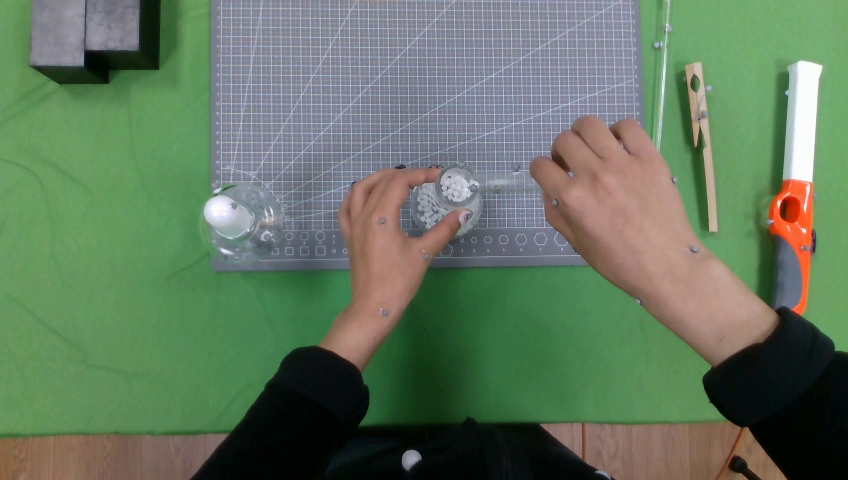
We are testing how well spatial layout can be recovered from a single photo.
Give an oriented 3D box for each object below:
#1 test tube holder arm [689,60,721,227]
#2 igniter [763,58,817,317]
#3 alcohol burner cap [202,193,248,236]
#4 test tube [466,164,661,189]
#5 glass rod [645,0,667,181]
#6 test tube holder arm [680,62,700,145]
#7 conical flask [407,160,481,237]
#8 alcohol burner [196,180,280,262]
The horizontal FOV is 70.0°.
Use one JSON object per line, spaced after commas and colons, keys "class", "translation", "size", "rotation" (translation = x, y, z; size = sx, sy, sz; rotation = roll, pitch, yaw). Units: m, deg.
{"class": "test tube holder arm", "translation": [0.296, -0.101, 0.641], "size": [0.013, 0.015, 0.178], "rotation": [-10, 86, 33]}
{"class": "igniter", "translation": [0.389, -0.055, 0.642], "size": [0.057, 0.025, 0.276], "rotation": [7, 86, -13]}
{"class": "alcohol burner cap", "translation": [-0.174, -0.024, 0.522], "size": [0.034, 0.048, 0.033], "rotation": [1, 77, -3]}
{"class": "test tube", "translation": [0.107, -0.050, 0.479], "size": [0.150, 0.017, 0.017], "rotation": [-1, 86, 14]}
{"class": "glass rod", "translation": [0.248, -0.162, 0.648], "size": [0.008, 0.008, 0.199], "rotation": [6, 89, -3]}
{"class": "test tube holder arm", "translation": [0.285, -0.145, 0.646], "size": [0.010, 0.015, 0.087], "rotation": [-9, 87, 33]}
{"class": "conical flask", "translation": [0.023, -0.044, 0.567], "size": [0.075, 0.122, 0.075], "rotation": [0, 86, -3]}
{"class": "alcohol burner", "translation": [-0.175, -0.020, 0.557], "size": [0.078, 0.119, 0.077], "rotation": [0, 85, -2]}
